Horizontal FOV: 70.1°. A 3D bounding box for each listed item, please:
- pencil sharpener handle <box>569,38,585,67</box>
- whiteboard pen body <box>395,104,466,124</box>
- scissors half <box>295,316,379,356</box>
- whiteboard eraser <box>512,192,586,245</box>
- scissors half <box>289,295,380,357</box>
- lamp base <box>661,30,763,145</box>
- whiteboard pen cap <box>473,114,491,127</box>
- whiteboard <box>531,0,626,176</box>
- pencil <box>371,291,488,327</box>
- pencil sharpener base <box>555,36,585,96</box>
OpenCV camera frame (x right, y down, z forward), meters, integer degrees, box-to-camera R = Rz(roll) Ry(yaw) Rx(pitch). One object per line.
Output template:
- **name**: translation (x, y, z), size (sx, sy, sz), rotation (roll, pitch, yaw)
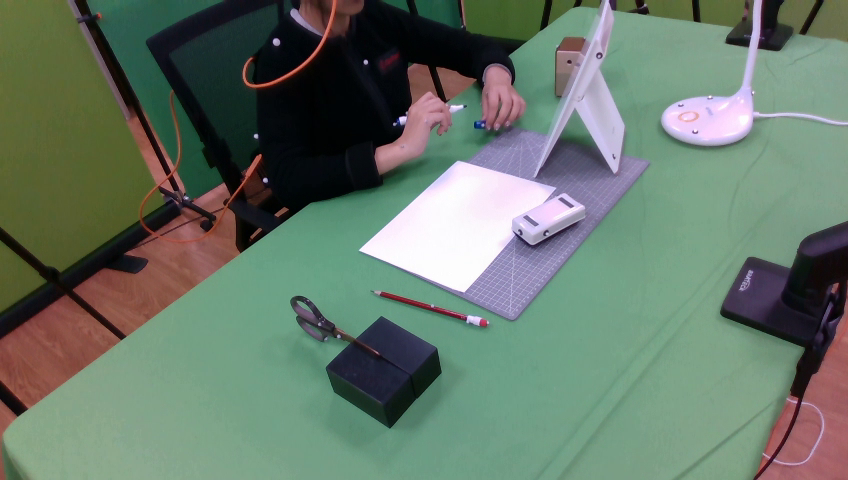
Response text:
- **pencil sharpener handle**: translation (0.332, -0.413, 1.318), size (0.036, 0.068, 0.030), rotation (19, 47, 13)
- **whiteboard pen body**: translation (0.014, -0.245, 1.166), size (0.141, 0.017, 0.017), rotation (-13, 40, -2)
- **scissors half**: translation (-0.119, 0.132, 0.813), size (0.174, 0.040, 0.013), rotation (9, 34, 45)
- **whiteboard eraser**: translation (0.199, -0.032, 0.962), size (0.113, 0.042, 0.055), rotation (-27, 42, -20)
- **scissors half**: translation (-0.122, 0.114, 0.803), size (0.174, 0.040, 0.013), rotation (26, 50, 32)
- **lamp base**: translation (0.535, -0.287, 1.096), size (0.179, 0.181, 0.159), rotation (-10, 40, -4)
- **whiteboard pen cap**: translation (0.115, -0.237, 1.203), size (0.033, 0.018, 0.018), rotation (-24, 43, -12)
- **whiteboard**: translation (0.321, -0.258, 1.050), size (0.144, 0.306, 0.217), rotation (22, 45, 5)
- **pencil**: translation (0.003, 0.097, 0.877), size (0.193, 0.012, 0.012), rotation (13, 45, 26)
- **pencil sharpener base**: translation (0.317, -0.371, 1.290), size (0.061, 0.107, 0.076), rotation (10, 44, 22)
